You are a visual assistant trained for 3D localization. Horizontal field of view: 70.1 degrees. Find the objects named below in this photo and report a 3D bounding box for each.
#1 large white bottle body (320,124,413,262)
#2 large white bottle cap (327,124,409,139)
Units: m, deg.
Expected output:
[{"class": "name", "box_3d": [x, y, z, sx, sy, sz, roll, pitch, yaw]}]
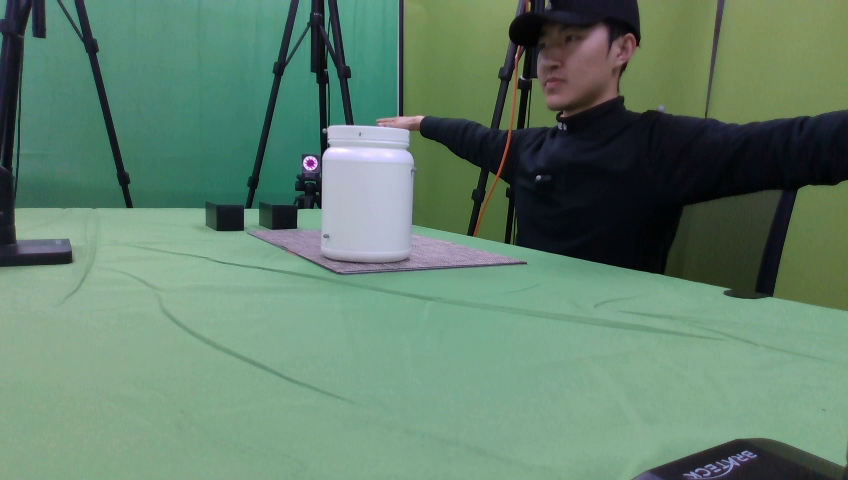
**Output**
[{"class": "large white bottle body", "box_3d": [-0.081, -0.069, 0.864, 0.131, 0.184, 0.130, 2, 7, 0]}, {"class": "large white bottle cap", "box_3d": [-0.078, -0.151, 0.852, 0.115, 0.018, 0.115, 1, 8, 0]}]
